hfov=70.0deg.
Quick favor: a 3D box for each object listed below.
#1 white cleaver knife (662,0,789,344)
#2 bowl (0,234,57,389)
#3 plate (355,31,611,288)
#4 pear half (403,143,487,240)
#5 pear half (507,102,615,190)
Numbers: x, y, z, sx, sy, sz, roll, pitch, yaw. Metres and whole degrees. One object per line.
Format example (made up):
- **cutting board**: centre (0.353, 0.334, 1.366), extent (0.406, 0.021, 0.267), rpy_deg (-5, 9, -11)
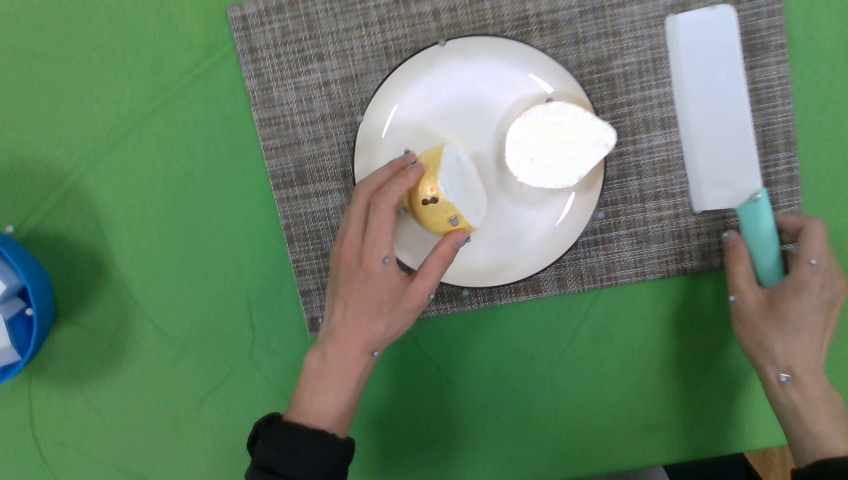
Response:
- **white cleaver knife**: centre (0.248, -0.051, 0.497), extent (0.065, 0.021, 0.287), rpy_deg (-6, 101, 46)
- **bowl**: centre (-0.390, 0.054, 0.539), extent (0.151, 0.076, 0.152), rpy_deg (1, 101, 3)
- **plate**: centre (0.048, -0.064, 0.509), extent (0.207, 0.039, 0.208), rpy_deg (1, 101, 3)
- **pear half**: centre (0.008, -0.032, 0.472), extent (0.056, 0.110, 0.076), rpy_deg (-26, 89, 21)
- **pear half**: centre (0.112, -0.077, 0.497), extent (0.087, 0.031, 0.070), rpy_deg (-3, 100, 22)
